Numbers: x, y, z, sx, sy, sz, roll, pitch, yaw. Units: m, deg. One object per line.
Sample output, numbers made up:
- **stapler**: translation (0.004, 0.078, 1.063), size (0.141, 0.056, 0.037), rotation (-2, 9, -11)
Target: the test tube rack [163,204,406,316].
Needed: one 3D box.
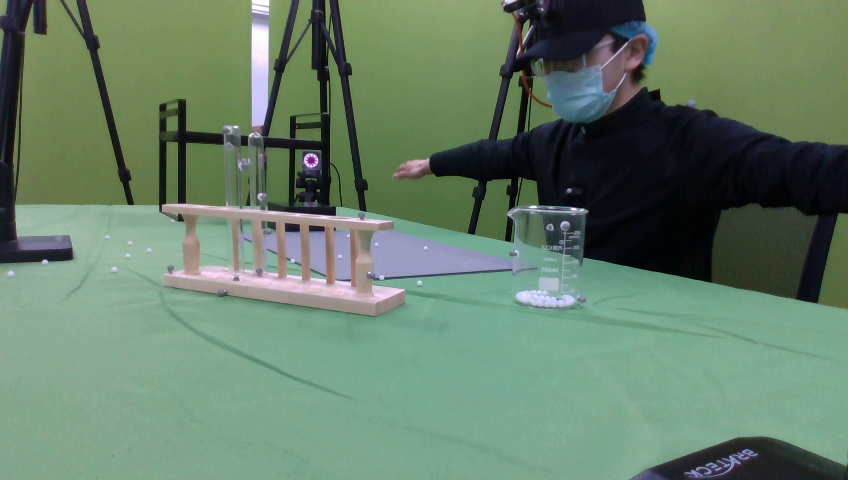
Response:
- **test tube rack**: translation (-0.141, 0.013, 0.601), size (0.241, 0.085, 0.067), rotation (5, 8, 21)

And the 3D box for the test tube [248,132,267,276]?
- **test tube**: translation (-0.173, -0.036, 0.629), size (0.017, 0.150, 0.017), rotation (0, 7, 0)

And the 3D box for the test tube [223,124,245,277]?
- **test tube**: translation (-0.186, -0.037, 0.592), size (0.017, 0.150, 0.017), rotation (1, 11, 0)

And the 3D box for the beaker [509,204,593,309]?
- **beaker**: translation (0.126, 0.015, 0.613), size (0.084, 0.100, 0.074), rotation (1, 7, -5)
